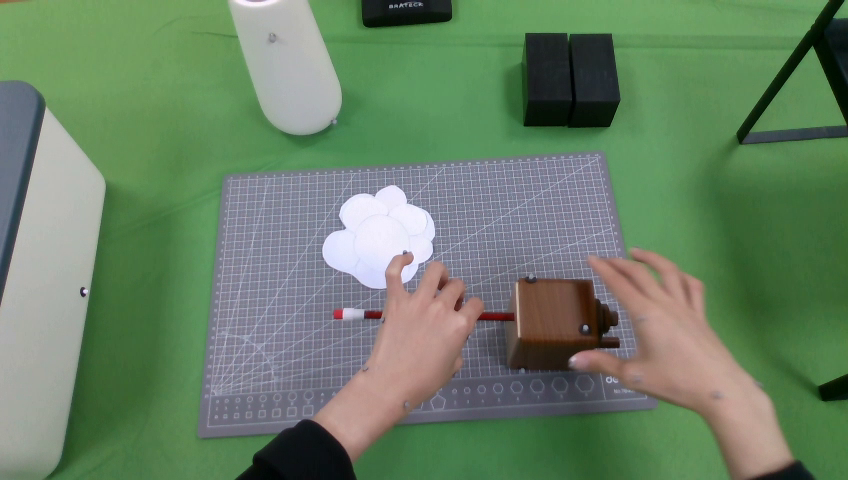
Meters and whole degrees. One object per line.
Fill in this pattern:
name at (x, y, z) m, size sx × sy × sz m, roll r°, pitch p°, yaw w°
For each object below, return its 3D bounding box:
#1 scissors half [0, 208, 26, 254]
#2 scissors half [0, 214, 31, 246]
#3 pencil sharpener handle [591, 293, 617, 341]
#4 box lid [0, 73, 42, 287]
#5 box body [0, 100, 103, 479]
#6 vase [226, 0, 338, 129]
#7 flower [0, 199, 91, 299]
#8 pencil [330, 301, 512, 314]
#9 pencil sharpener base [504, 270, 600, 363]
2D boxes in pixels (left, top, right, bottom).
scissors half at (-0.515, 0.026, 0.667) m, size 0.175 × 0.040 × 0.012 m, roll -36°, pitch 31°, yaw -6°
scissors half at (-0.521, 0.016, 0.659) m, size 0.175 × 0.040 × 0.012 m, roll -29°, pitch 36°, yaw -13°
pencil sharpener handle at (0.168, 0.073, 0.560) m, size 0.030 × 0.068 × 0.035 m, roll 0°, pitch 52°, yaw 2°
box lid at (-0.483, 0.012, 0.509) m, size 0.263 × 0.015 × 0.368 m, roll -4°, pitch 66°, yaw -2°
box body at (-0.480, 0.046, 0.577) m, size 0.254 × 0.161 × 0.361 m, roll -5°, pitch 66°, yaw 0°
vase at (-0.156, -0.212, 0.664) m, size 0.098 × 0.201 × 0.097 m, roll -1°, pitch 64°, yaw 3°
flower at (-0.476, 0.076, 0.655) m, size 0.038 × 0.044 × 0.359 m, roll -11°, pitch 40°, yaw 32°
pencil at (0.011, 0.063, 0.552) m, size 0.194 × 0.012 × 0.012 m, roll 1°, pitch 65°, yaw 1°
pencil sharpener base at (0.118, 0.075, 0.574) m, size 0.077 × 0.108 × 0.061 m, roll 0°, pitch 65°, yaw 2°
